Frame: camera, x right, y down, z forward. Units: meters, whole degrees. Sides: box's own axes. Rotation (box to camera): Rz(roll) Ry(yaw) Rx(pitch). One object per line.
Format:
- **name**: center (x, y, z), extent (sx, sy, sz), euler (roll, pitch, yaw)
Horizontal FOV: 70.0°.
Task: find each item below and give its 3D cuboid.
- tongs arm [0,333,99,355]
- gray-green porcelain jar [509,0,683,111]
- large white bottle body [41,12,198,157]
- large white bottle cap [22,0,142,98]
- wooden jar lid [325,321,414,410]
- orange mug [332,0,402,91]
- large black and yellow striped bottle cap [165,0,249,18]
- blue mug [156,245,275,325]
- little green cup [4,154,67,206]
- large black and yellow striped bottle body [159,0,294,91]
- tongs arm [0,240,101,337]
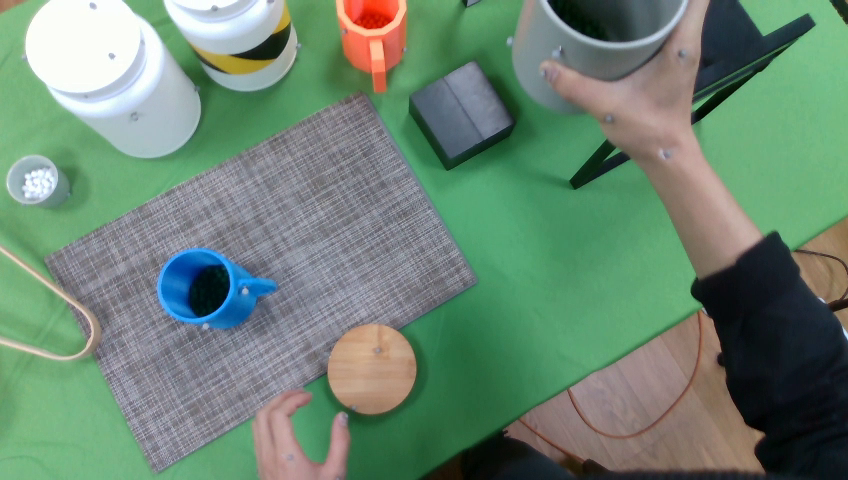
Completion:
- **tongs arm**: center (-0.581, 0.065, 0.704), extent (0.386, 0.026, 0.050), euler (23, 76, -6)
- **gray-green porcelain jar**: center (0.122, -0.165, 0.459), extent (0.106, 0.127, 0.105), euler (0, 80, 0)
- **large white bottle body**: center (-0.356, -0.187, 0.708), extent (0.131, 0.185, 0.130), euler (1, 79, -3)
- **large white bottle cap**: center (-0.353, -0.203, 0.625), extent (0.115, 0.018, 0.114), euler (1, 80, -3)
- **wooden jar lid**: center (-0.066, 0.154, 0.744), extent (0.108, 0.021, 0.108), euler (1, 83, -4)
- **orange mug**: center (-0.069, -0.264, 0.783), extent (0.083, 0.101, 0.125), euler (-7, 76, -4)
- **large black and yellow striped bottle cap**: center (-0.234, -0.295, 0.650), extent (0.115, 0.019, 0.114), euler (1, 79, -4)
- **blue mug**: center (-0.234, 0.054, 0.708), extent (0.117, 0.106, 0.082), euler (-5, 79, -4)
- **little green cup**: center (-0.481, -0.072, 0.754), extent (0.061, 0.039, 0.061), euler (1, 80, -4)
- **large black and yellow striped bottle body**: center (-0.237, -0.277, 0.732), extent (0.131, 0.184, 0.130), euler (1, 79, -3)
- **tongs arm**: center (-0.544, -0.009, 0.723), extent (0.388, 0.028, 0.028), euler (36, 71, -3)
